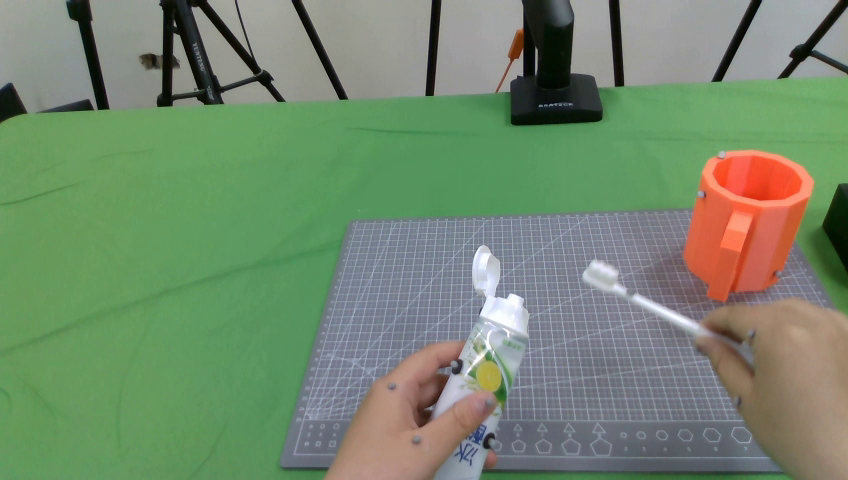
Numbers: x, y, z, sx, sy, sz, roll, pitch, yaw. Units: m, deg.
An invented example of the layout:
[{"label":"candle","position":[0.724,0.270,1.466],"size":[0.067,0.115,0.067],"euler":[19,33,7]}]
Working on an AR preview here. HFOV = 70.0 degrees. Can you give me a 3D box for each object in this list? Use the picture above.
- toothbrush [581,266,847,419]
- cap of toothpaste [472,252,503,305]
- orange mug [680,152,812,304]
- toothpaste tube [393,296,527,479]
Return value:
[{"label":"toothbrush","position":[0.187,0.063,0.394],"size":[0.180,0.017,0.014],"euler":[29,37,20]},{"label":"cap of toothpaste","position":[0.043,0.026,0.406],"size":[0.011,0.038,0.037],"euler":[-1,37,31]},{"label":"orange mug","position":[0.273,-0.006,0.528],"size":[0.083,0.102,0.126],"euler":[18,41,28]},{"label":"toothpaste tube","position":[0.024,0.111,0.382],"size":[0.055,0.035,0.164],"euler":[22,82,12]}]
